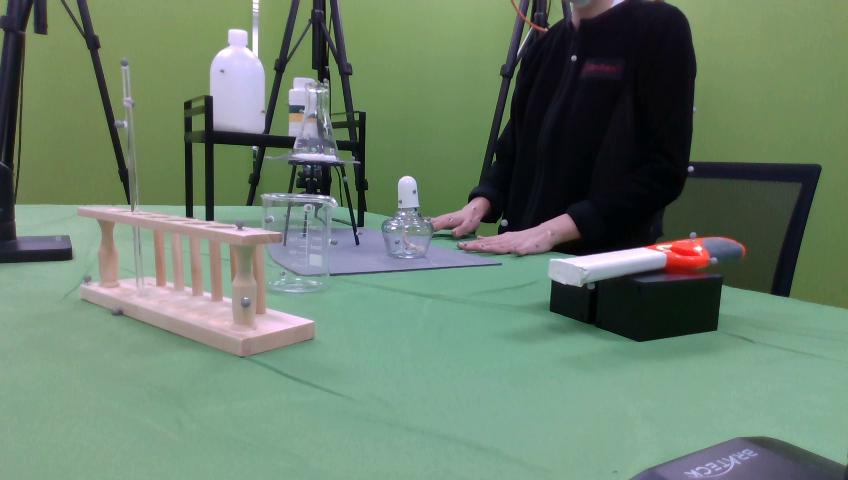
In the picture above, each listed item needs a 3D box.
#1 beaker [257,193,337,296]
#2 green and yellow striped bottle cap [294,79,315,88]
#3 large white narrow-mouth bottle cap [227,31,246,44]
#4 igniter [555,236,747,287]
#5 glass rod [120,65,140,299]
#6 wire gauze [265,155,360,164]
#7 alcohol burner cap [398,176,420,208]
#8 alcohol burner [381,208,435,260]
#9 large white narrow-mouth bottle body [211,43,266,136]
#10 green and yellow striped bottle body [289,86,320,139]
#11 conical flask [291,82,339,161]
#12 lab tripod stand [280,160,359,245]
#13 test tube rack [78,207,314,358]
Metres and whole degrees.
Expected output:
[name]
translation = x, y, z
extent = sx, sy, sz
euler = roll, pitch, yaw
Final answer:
[beaker]
translation = -0.130, 0.004, 0.628
extent = 0.084, 0.100, 0.074
euler = 5, 8, 15
[green and yellow striped bottle cap]
translation = -0.248, -0.323, 1.256
extent = 0.045, 0.020, 0.045
euler = 3, 9, 0
[large white narrow-mouth bottle cap]
translation = -0.361, -0.387, 1.166
extent = 0.038, 0.024, 0.037
euler = 1, 7, 0
[igniter]
translation = 0.221, 0.017, 0.558
extent = 0.278, 0.025, 0.057
euler = -5, 15, -39
[glass rod]
translation = -0.249, -0.047, 0.513
extent = 0.008, 0.199, 0.008
euler = -1, 4, 0
[wire gauze]
translation = -0.181, -0.128, 0.969
extent = 0.126, 0.011, 0.121
euler = -3, 7, -26
[alcohol burner cap]
translation = -0.023, -0.068, 0.866
extent = 0.034, 0.048, 0.034
euler = -4, 7, 1
[alcohol burner]
translation = -0.023, -0.032, 0.872
extent = 0.078, 0.119, 0.078
euler = 0, 6, 0
[large white narrow-mouth bottle body]
translation = -0.361, -0.302, 1.176
extent = 0.102, 0.194, 0.102
euler = 1, 7, 0
[green and yellow striped bottle body]
translation = -0.250, -0.272, 1.261
extent = 0.063, 0.119, 0.063
euler = 3, 7, 0
[conical flask]
translation = -0.171, -0.185, 0.957
extent = 0.075, 0.122, 0.075
euler = 2, 7, 0
[lab tripod stand]
translation = -0.176, -0.062, 0.973
extent = 0.148, 0.131, 0.148
euler = 1, 7, 0
[test tube rack]
translation = -0.197, 0.024, 0.500
extent = 0.241, 0.085, 0.067
euler = 8, 8, 37
